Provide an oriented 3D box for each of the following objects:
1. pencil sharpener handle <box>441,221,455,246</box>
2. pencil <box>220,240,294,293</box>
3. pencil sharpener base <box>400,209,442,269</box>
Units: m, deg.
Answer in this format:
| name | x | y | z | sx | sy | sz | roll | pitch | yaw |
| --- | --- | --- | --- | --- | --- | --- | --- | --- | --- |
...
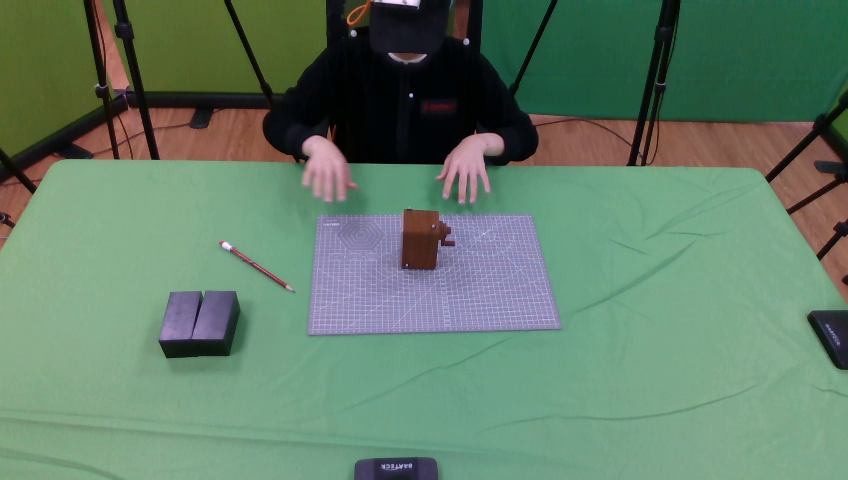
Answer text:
| name | x | y | z | sx | sy | sz | roll | pitch | yaw |
| --- | --- | --- | --- | --- | --- | --- | --- | --- | --- |
| pencil sharpener handle | 0.046 | -0.009 | 1.129 | 0.030 | 0.068 | 0.036 | 2 | 56 | -2 |
| pencil | -0.314 | 0.049 | 1.137 | 0.193 | 0.012 | 0.012 | 31 | 51 | 21 |
| pencil sharpener base | -0.006 | 0.000 | 1.134 | 0.077 | 0.107 | 0.061 | 2 | 46 | -2 |
